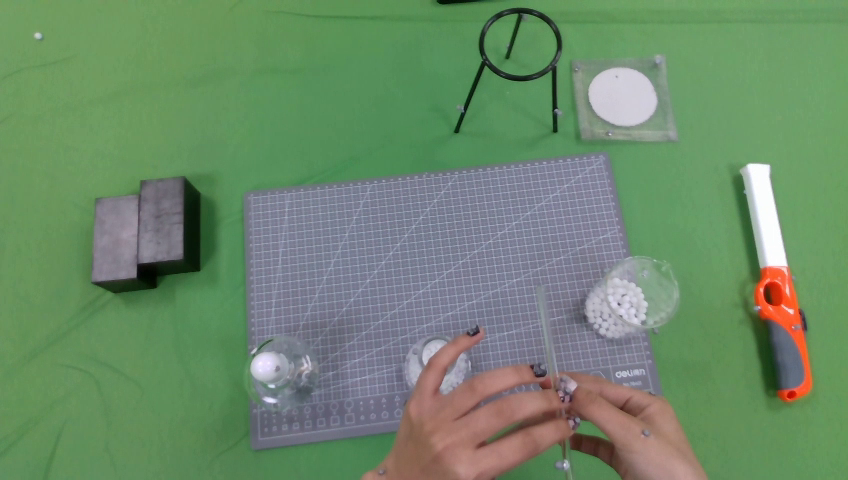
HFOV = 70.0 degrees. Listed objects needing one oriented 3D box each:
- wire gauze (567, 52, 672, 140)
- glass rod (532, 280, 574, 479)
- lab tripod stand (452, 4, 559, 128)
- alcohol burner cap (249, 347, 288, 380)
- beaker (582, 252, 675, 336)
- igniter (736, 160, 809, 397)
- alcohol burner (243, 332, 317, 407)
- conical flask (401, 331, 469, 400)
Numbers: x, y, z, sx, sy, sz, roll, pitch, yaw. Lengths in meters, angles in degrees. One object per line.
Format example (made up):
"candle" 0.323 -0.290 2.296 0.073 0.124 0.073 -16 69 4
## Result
"wire gauze" 0.250 -0.184 0.772 0.125 0.011 0.121 -1 74 -2
"glass rod" 0.096 0.110 0.444 0.008 0.008 0.197 -1 51 0
"lab tripod stand" 0.098 -0.193 0.710 0.148 0.132 0.147 0 75 1
"alcohol burner cap" -0.152 0.119 0.587 0.034 0.048 0.033 1 76 -3
"beaker" 0.215 0.060 0.648 0.084 0.101 0.073 -43 77 -12
"igniter" 0.398 0.038 0.695 0.057 0.025 0.275 2 73 -10
"alcohol burner" -0.152 0.130 0.621 0.078 0.120 0.077 -1 72 3
"conical flask" 0.011 0.122 0.619 0.075 0.122 0.075 0 72 1
